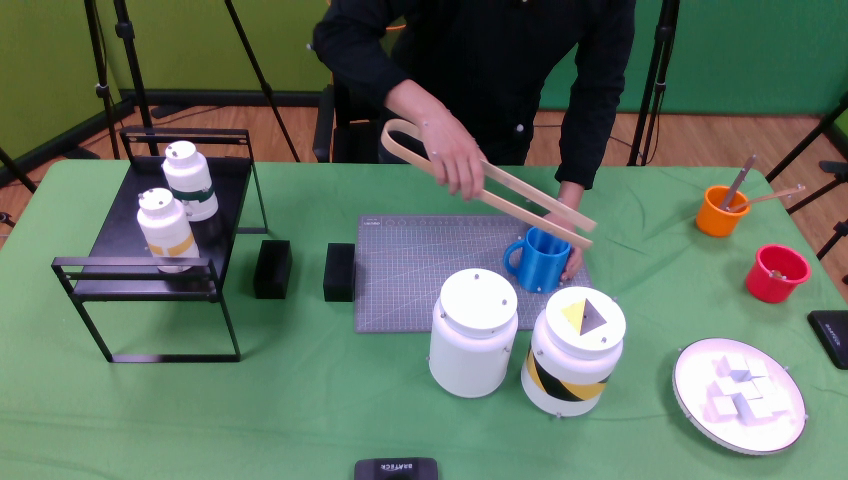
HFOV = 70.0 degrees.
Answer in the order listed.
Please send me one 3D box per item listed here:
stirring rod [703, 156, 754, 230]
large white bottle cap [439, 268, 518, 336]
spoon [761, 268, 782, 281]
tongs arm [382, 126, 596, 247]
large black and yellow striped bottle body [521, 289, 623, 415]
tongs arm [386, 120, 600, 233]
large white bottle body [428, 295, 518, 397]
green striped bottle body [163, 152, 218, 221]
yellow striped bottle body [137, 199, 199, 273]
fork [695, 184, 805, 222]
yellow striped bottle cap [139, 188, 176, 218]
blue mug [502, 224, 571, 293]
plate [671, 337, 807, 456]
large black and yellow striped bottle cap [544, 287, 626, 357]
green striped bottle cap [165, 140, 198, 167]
[{"bbox_3d":[0.631,-0.098,1.258,0.014,0.006,0.176,33,95,29],"label":"stirring rod"},{"bbox_3d":[0.080,0.089,0.888,0.115,0.018,0.114,2,47,-2],"label":"large white bottle cap"},{"bbox_3d":[0.638,0.060,1.105,0.041,0.021,0.194,38,11,24],"label":"spoon"},{"bbox_3d":[0.103,-0.082,0.984,0.388,0.028,0.028,27,56,-1],"label":"tongs arm"},{"bbox_3d":[0.228,0.173,0.937,0.131,0.185,0.130,2,47,-2],"label":"large black and yellow striped bottle body"},{"bbox_3d":[0.112,-0.100,1.000,0.385,0.026,0.050,30,53,2],"label":"tongs arm"},{"bbox_3d":[0.076,0.147,0.950,0.131,0.185,0.130,2,46,-2],"label":"large white bottle body"},{"bbox_3d":[-0.363,-0.092,0.939,0.063,0.120,0.063,2,46,-2],"label":"green striped bottle body"},{"bbox_3d":[-0.366,-0.014,0.864,0.063,0.121,0.062,2,46,-2],"label":"yellow striped bottle body"},{"bbox_3d":[0.657,-0.075,1.230,0.207,0.019,0.028,-23,34,37],"label":"fork"},{"bbox_3d":[-0.363,-0.051,0.826,0.044,0.019,0.044,1,47,-1],"label":"yellow striped bottle cap"},{"bbox_3d":[0.202,0.033,1.120,0.116,0.106,0.082,3,47,0],"label":"blue mug"},{"bbox_3d":[0.504,0.253,0.984,0.208,0.039,0.206,2,46,-2],"label":"plate"},{"bbox_3d":[0.232,0.116,0.876,0.115,0.019,0.114,2,46,-1],"label":"large black and yellow striped bottle cap"},{"bbox_3d":[-0.361,-0.128,0.902,0.044,0.020,0.044,3,47,-3],"label":"green striped bottle cap"}]
